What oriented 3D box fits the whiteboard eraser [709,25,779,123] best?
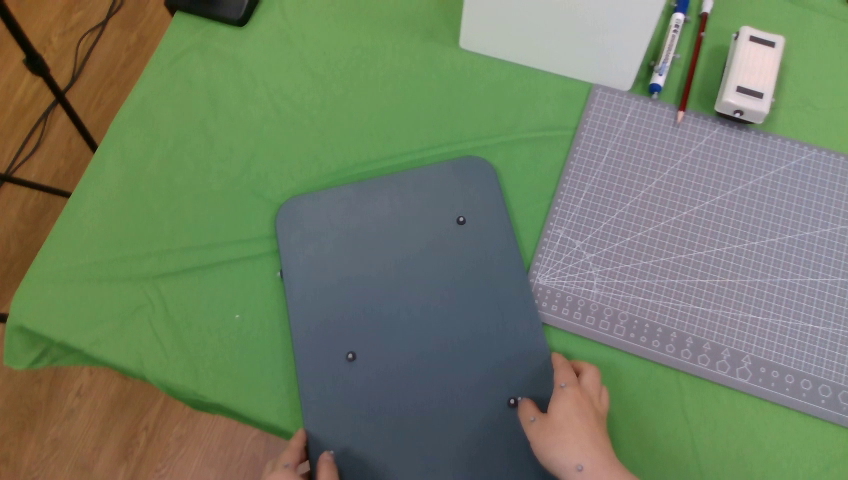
[{"bbox_3d":[0.371,-0.192,0.705,0.055,0.042,0.112,18,74,10],"label":"whiteboard eraser"}]

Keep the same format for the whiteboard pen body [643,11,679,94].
[{"bbox_3d":[0.291,-0.239,0.737,0.017,0.017,0.140,20,74,9],"label":"whiteboard pen body"}]

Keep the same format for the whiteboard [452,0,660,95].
[{"bbox_3d":[0.169,-0.347,0.660,0.216,0.308,0.143,18,54,9],"label":"whiteboard"}]

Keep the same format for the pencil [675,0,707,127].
[{"bbox_3d":[0.322,-0.219,0.733,0.012,0.012,0.193,16,73,8],"label":"pencil"}]

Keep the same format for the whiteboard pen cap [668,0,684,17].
[{"bbox_3d":[0.314,-0.290,0.752,0.018,0.018,0.033,17,72,9],"label":"whiteboard pen cap"}]

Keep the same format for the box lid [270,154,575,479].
[{"bbox_3d":[-0.014,0.088,0.643,0.263,0.015,0.368,-13,70,-2],"label":"box lid"}]
